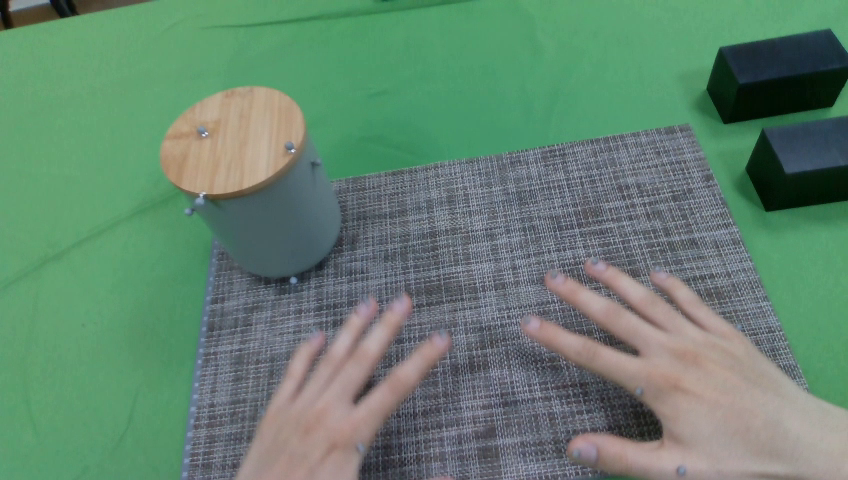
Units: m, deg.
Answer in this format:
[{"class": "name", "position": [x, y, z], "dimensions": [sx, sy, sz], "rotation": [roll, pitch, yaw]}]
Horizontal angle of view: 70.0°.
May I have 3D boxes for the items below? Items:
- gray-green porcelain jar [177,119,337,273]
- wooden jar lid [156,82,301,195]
[{"class": "gray-green porcelain jar", "position": [-0.134, -0.040, 0.503], "dimensions": [0.106, 0.128, 0.105], "rotation": [-4, 56, 7]}, {"class": "wooden jar lid", "position": [-0.143, -0.074, 0.452], "dimensions": [0.108, 0.021, 0.107], "rotation": [-3, 58, 4]}]
